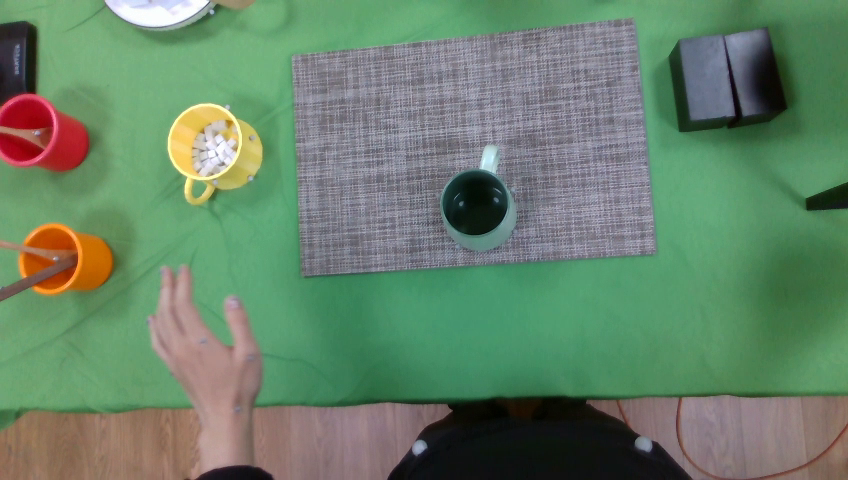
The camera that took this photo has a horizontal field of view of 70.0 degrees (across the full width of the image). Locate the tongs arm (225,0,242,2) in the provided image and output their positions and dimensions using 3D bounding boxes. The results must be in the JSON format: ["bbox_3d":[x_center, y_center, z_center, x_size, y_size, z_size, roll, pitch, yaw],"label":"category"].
[{"bbox_3d":[-0.400,-0.392,0.814,0.383,0.026,0.050,25,86,11],"label":"tongs arm"}]

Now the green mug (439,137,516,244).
[{"bbox_3d":[0.066,-0.060,0.720,0.092,0.105,0.125,13,87,9],"label":"green mug"}]

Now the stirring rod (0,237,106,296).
[{"bbox_3d":[-0.492,0.040,0.774,0.014,0.006,0.176,47,50,8],"label":"stirring rod"}]

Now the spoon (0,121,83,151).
[{"bbox_3d":[-0.560,-0.152,0.796,0.195,0.021,0.041,7,83,-35],"label":"spoon"}]

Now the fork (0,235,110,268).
[{"bbox_3d":[-0.516,0.004,0.774,0.209,0.018,0.028,17,83,-34],"label":"fork"}]

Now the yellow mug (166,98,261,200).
[{"bbox_3d":[-0.280,-0.114,0.795,0.100,0.064,0.131,22,90,8],"label":"yellow mug"}]

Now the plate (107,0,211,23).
[{"bbox_3d":[-0.358,-0.399,0.842,0.207,0.039,0.207,-1,86,8],"label":"plate"}]
